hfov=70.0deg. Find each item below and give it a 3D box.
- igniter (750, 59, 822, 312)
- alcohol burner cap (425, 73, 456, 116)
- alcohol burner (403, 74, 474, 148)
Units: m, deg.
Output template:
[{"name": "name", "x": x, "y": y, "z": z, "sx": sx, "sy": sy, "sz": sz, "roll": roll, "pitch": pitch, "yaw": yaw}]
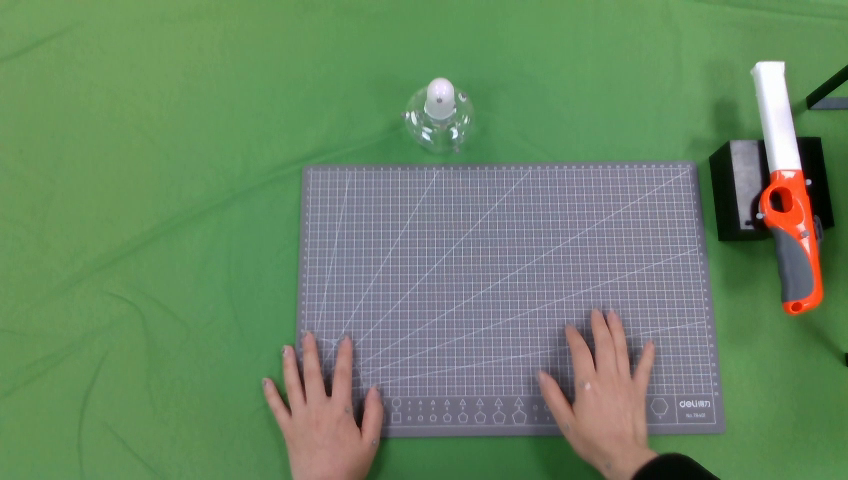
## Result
[{"name": "igniter", "x": 0.374, "y": -0.062, "z": 0.630, "sx": 0.057, "sy": 0.025, "sz": 0.275, "roll": 0, "pitch": 75, "yaw": 1}, {"name": "alcohol burner cap", "x": 0.017, "y": -0.151, "z": 0.618, "sx": 0.034, "sy": 0.048, "sz": 0.033, "roll": 0, "pitch": 79, "yaw": 1}, {"name": "alcohol burner", "x": 0.016, "y": -0.144, "z": 0.648, "sx": 0.078, "sy": 0.119, "sz": 0.077, "roll": 0, "pitch": 78, "yaw": 2}]
